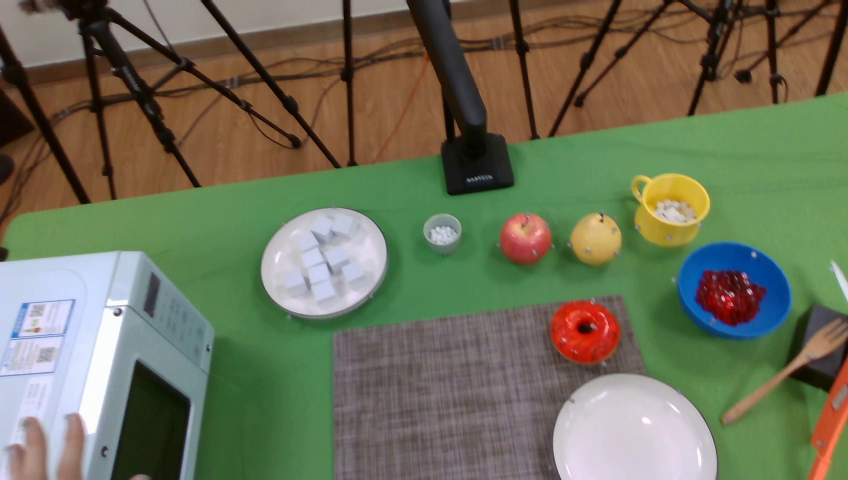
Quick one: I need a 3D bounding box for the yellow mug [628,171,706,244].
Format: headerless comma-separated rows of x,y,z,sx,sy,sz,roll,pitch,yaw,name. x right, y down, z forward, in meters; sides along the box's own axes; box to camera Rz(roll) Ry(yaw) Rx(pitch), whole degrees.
0.381,-0.062,0.976,0.100,0.064,0.129,-36,61,-15,yellow mug

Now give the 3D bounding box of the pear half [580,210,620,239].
0.278,-0.027,0.951,0.070,0.089,0.031,17,63,21,pear half

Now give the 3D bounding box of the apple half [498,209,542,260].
0.148,-0.013,0.966,0.053,0.075,0.080,37,72,28,apple half

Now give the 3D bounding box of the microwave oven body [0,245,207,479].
-0.486,0.264,0.746,0.326,0.262,0.437,-5,59,2,microwave oven body

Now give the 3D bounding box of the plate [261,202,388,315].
-0.159,0.032,0.990,0.207,0.039,0.205,-2,58,4,plate

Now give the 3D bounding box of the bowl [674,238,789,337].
0.432,0.080,0.877,0.151,0.077,0.150,-2,59,4,bowl

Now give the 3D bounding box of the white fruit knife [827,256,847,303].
0.591,0.110,0.821,0.027,0.016,0.205,11,54,-21,white fruit knife

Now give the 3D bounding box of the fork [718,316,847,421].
0.477,0.175,0.809,0.207,0.019,0.028,-41,68,5,fork

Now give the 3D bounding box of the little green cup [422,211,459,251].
0.029,-0.013,0.998,0.061,0.039,0.061,-3,58,5,little green cup

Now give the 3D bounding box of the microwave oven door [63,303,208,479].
-0.339,0.283,0.712,0.039,0.246,0.352,-5,58,3,microwave oven door

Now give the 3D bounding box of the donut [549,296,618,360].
0.231,0.128,0.883,0.099,0.049,0.098,-4,59,7,donut

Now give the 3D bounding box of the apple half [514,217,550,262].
0.176,0.007,0.949,0.032,0.082,0.081,37,68,29,apple half

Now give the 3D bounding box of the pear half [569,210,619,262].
0.258,-0.005,0.928,0.076,0.111,0.055,19,62,21,pear half

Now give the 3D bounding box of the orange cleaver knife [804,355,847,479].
0.510,0.241,0.768,0.012,0.077,0.211,21,93,16,orange cleaver knife

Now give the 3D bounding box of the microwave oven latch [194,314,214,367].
-0.338,0.151,0.913,0.030,0.030,0.078,-3,59,3,microwave oven latch

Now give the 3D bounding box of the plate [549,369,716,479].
0.269,0.274,0.794,0.209,0.038,0.207,-2,58,4,plate
